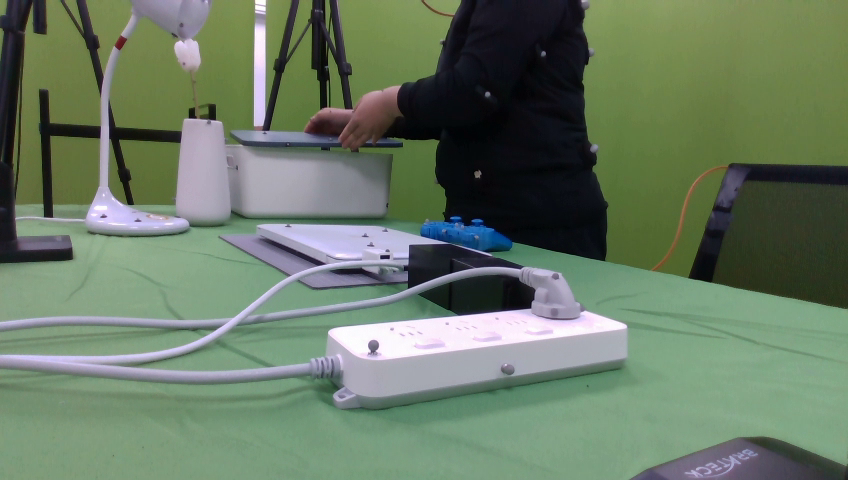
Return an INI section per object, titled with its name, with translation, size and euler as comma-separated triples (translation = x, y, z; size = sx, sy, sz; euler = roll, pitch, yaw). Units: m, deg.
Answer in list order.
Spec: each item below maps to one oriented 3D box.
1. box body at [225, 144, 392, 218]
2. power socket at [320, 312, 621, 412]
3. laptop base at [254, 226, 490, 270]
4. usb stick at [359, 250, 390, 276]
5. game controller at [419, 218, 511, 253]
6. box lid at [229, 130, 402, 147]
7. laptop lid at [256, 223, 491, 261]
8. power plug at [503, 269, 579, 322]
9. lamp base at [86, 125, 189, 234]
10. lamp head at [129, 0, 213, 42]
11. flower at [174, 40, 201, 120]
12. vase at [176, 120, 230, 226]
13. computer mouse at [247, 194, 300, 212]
[box body]
translation = -0.289, -0.143, 1.475
size = 0.366, 0.160, 0.253
euler = -1, 9, -29
[power socket]
translation = 0.038, 0.075, 0.410
size = 0.228, 0.032, 0.072
euler = -2, 8, -29
[laptop base]
translation = -0.095, 0.011, 0.912
size = 0.237, 0.023, 0.352
euler = 3, 6, -32
[usb stick]
translation = -0.061, 0.026, 0.709
size = 0.021, 0.027, 0.059
euler = -2, 3, -29
[game controller]
translation = 0.063, -0.009, 1.028
size = 0.154, 0.051, 0.097
euler = 9, 15, 43
[box lid]
translation = -0.263, -0.241, 1.444
size = 0.373, 0.015, 0.262
euler = -4, 16, -25
[laptop lid]
translation = -0.092, 0.000, 0.912
size = 0.243, 0.013, 0.355
euler = 1, 7, -30
[power plug]
translation = 0.091, 0.051, 0.469
size = 0.035, 0.052, 0.072
euler = 0, 6, -18
[lamp base]
translation = -0.497, -0.105, 1.027
size = 0.179, 0.180, 0.160
euler = 1, 7, 3
[lamp head]
translation = -0.423, -0.394, 0.980
size = 0.123, 0.112, 0.112
euler = 20, 7, -3
[flower]
translation = -0.430, -0.211, 1.165
size = 0.044, 0.361, 0.038
euler = -10, -5, -25
[vase]
translation = -0.424, -0.128, 1.159
size = 0.098, 0.200, 0.098
euler = 2, 9, 0
[computer mouse]
translation = -0.354, -0.085, 1.418
size = 0.117, 0.041, 0.063
euler = -5, 7, 6
